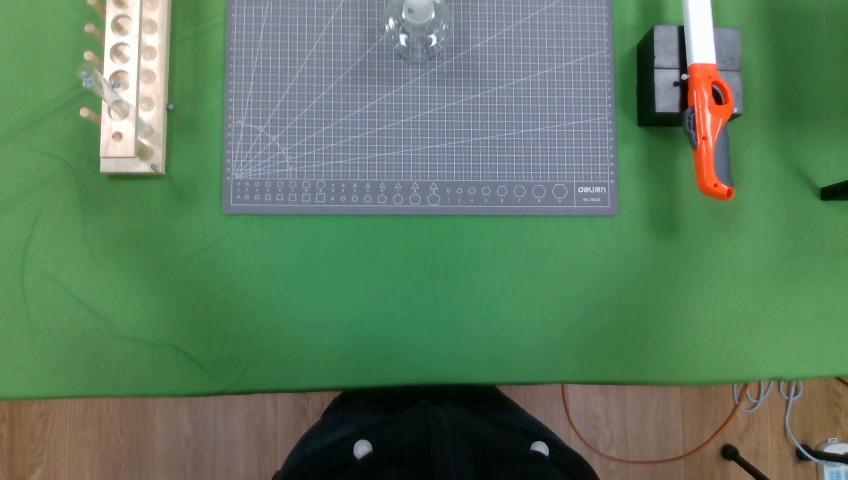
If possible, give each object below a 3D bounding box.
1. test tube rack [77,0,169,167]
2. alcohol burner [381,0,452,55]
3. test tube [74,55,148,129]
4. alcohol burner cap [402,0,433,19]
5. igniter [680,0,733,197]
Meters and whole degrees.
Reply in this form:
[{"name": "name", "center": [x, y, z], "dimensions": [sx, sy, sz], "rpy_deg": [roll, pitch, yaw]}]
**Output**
[{"name": "test tube rack", "center": [-0.321, -0.205, 0.642], "dimensions": [0.067, 0.085, 0.242], "rpy_deg": [0, 85, -3]}, {"name": "alcohol burner", "center": [-0.008, -0.246, 0.648], "dimensions": [0.078, 0.119, 0.078], "rpy_deg": [0, 86, -1]}, {"name": "test tube", "center": [-0.299, -0.140, 0.589], "dimensions": [0.017, 0.150, 0.017], "rpy_deg": [1, 81, -6]}, {"name": "alcohol burner cap", "center": [-0.007, -0.249, 0.613], "dimensions": [0.034, 0.048, 0.034], "rpy_deg": [0, 85, -1]}, {"name": "igniter", "center": [0.304, -0.183, 0.661], "dimensions": [0.057, 0.025, 0.275], "rpy_deg": [-1, 83, -6]}]
